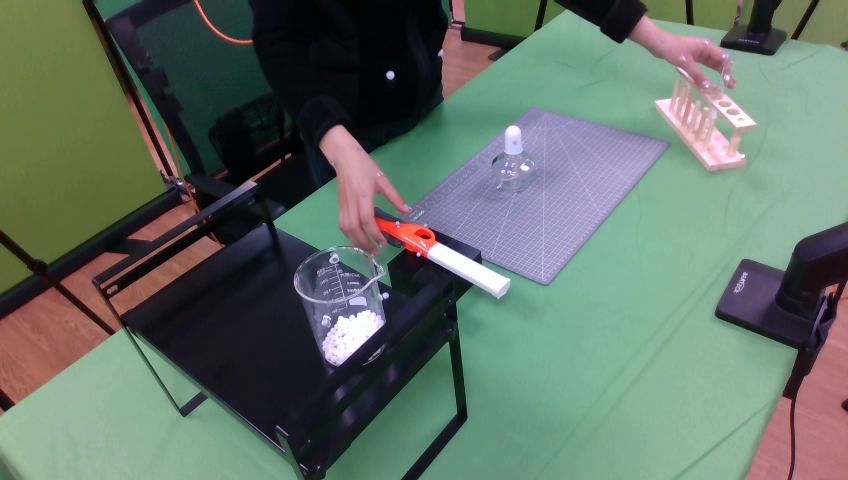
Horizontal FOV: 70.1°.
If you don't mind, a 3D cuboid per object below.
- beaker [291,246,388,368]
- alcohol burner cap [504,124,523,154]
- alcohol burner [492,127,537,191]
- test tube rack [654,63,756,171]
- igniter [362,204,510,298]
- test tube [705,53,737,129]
[{"bbox_3d":[-0.073,0.066,0.572,0.084,0.101,0.073,-7,41,0],"label":"beaker"},{"bbox_3d":[0.151,-0.172,1.022,0.034,0.048,0.033,-4,36,3],"label":"alcohol burner cap"},{"bbox_3d":[0.156,-0.146,1.045,0.078,0.119,0.077,-4,43,4],"label":"alcohol burner"},{"bbox_3d":[0.511,-0.233,1.120,0.067,0.085,0.241,-9,41,0],"label":"test tube rack"},{"bbox_3d":[0.007,0.009,0.887,0.274,0.025,0.057,29,50,32],"label":"igniter"},{"bbox_3d":[0.526,-0.260,1.074,0.017,0.151,0.017,-2,44,2],"label":"test tube"}]
